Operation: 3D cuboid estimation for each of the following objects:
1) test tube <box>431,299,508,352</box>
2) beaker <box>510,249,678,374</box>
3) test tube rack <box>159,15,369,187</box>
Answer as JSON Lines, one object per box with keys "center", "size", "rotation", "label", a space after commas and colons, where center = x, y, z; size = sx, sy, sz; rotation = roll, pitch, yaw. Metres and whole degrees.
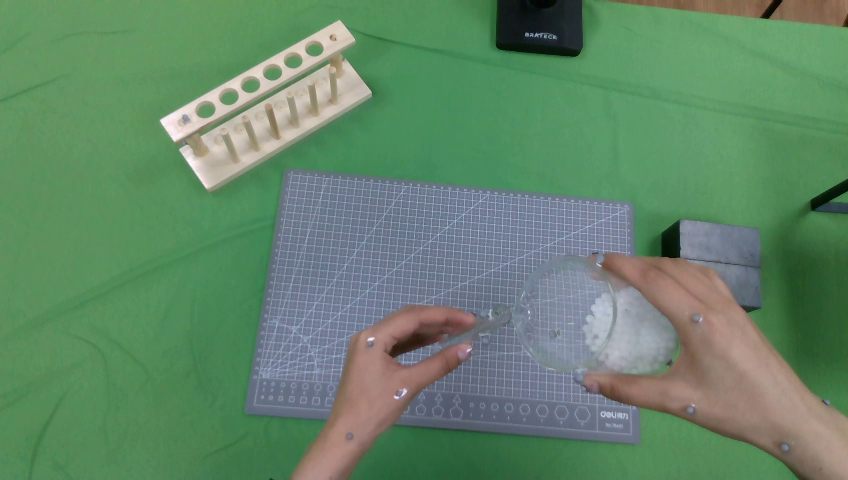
{"center": [0.033, 0.072, 0.487], "size": [0.017, 0.150, 0.017], "rotation": [5, 70, -15], "label": "test tube"}
{"center": [0.119, 0.053, 0.415], "size": [0.101, 0.083, 0.073], "rotation": [17, 72, -41], "label": "beaker"}
{"center": [-0.185, -0.169, 0.739], "size": [0.242, 0.085, 0.066], "rotation": [-35, 78, -14], "label": "test tube rack"}
